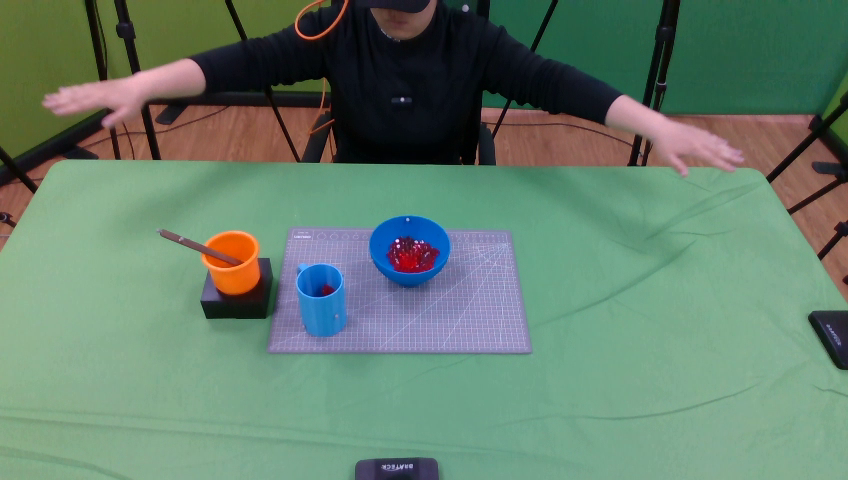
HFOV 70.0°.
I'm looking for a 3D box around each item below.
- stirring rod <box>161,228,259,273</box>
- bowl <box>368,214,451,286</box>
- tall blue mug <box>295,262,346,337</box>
[{"bbox_3d":[-0.351,0.019,1.003,0.177,0.006,0.014,28,35,-38],"label":"stirring rod"},{"bbox_3d":[-0.028,0.031,1.122,0.151,0.077,0.150,2,46,-2],"label":"bowl"},{"bbox_3d":[-0.187,0.096,1.027,0.107,0.108,0.077,21,49,15],"label":"tall blue mug"}]
